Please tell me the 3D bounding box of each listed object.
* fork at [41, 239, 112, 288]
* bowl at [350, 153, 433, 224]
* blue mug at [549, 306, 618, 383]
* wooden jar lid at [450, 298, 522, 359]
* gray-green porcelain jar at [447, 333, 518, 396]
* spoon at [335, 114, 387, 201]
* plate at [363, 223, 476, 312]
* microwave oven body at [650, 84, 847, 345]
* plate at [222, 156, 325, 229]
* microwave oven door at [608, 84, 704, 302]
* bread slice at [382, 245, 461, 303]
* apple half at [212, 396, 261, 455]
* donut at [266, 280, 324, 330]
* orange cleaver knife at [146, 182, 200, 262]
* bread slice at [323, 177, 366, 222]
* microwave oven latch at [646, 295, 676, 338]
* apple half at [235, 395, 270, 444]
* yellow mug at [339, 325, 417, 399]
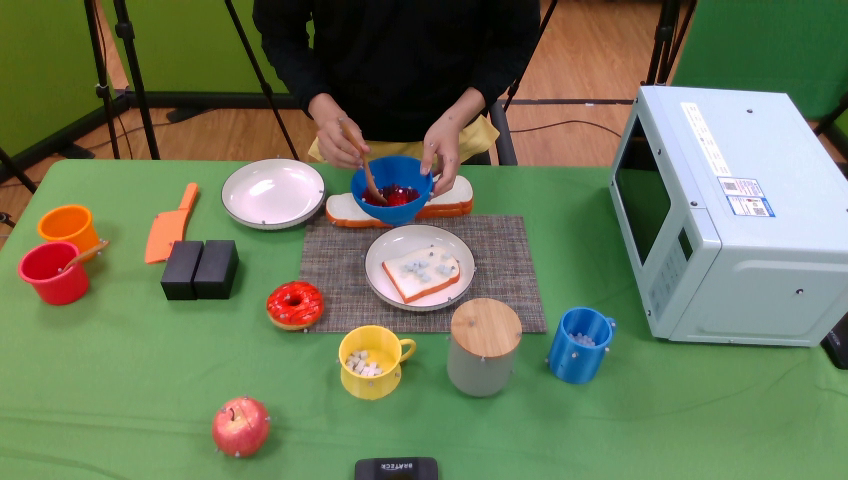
[{"bbox_3d":[-0.591,0.040,1.028,0.207,0.019,0.028,-27,37,29],"label":"fork"},{"bbox_3d":[-0.055,-0.082,1.104,0.151,0.077,0.150,-3,45,3],"label":"bowl"},{"bbox_3d":[0.269,0.167,0.997,0.116,0.106,0.082,-19,51,-21],"label":"blue mug"},{"bbox_3d":[0.093,0.135,0.914,0.108,0.021,0.107,2,48,-3],"label":"wooden jar lid"},{"bbox_3d":[0.091,0.178,0.960,0.106,0.127,0.105,2,46,-2],"label":"gray-green porcelain jar"},{"bbox_3d":[-0.107,-0.139,1.048,0.021,0.195,0.041,-31,40,-10],"label":"spoon"},{"bbox_3d":[-0.009,0.054,1.126,0.208,0.039,0.206,2,47,-2],"label":"plate"},{"bbox_3d":[0.569,-0.054,1.116,0.326,0.261,0.439,2,46,-1],"label":"microwave oven body"},{"bbox_3d":[-0.308,-0.095,1.251,0.209,0.038,0.208,3,46,-3],"label":"plate"},{"bbox_3d":[0.424,-0.096,1.138,0.039,0.245,0.353,2,47,-1],"label":"microwave oven door"},{"bbox_3d":[0.000,0.055,1.129,0.131,0.019,0.104,-21,52,-20],"label":"bread slice"},{"bbox_3d":[-0.276,0.276,0.877,0.053,0.075,0.080,-29,58,-21],"label":"apple half"},{"bbox_3d":[-0.223,0.113,1.051,0.099,0.048,0.098,2,45,-2],"label":"donut"},{"bbox_3d":[-0.494,-0.039,1.199,0.077,0.012,0.210,-3,48,2],"label":"orange cleaver knife"},{"bbox_3d":[-0.140,-0.091,1.224,0.134,0.018,0.106,-19,51,6],"label":"bread slice"},{"bbox_3d":[0.413,0.133,1.060,0.030,0.029,0.078,4,46,1],"label":"microwave oven latch"},{"bbox_3d":[-0.245,0.260,0.893,0.033,0.082,0.081,-29,55,-22],"label":"apple half"},{"bbox_3d":[-0.072,0.190,0.978,0.131,0.064,0.099,-18,50,-20],"label":"yellow mug"}]
